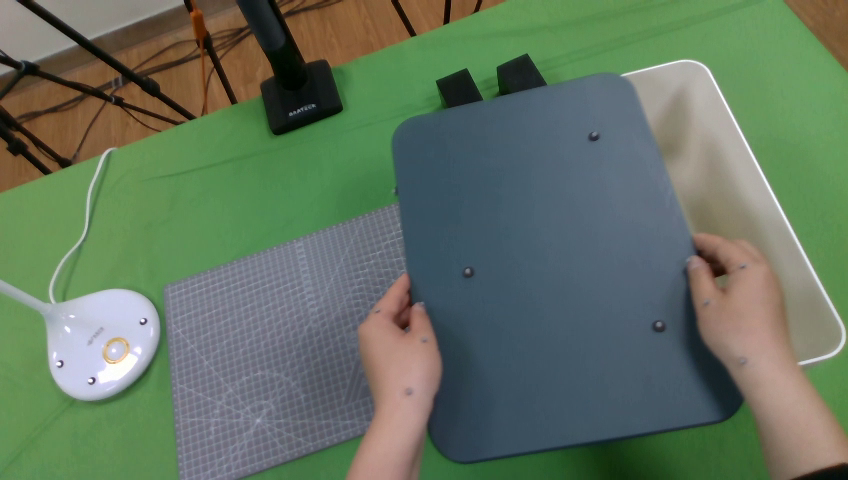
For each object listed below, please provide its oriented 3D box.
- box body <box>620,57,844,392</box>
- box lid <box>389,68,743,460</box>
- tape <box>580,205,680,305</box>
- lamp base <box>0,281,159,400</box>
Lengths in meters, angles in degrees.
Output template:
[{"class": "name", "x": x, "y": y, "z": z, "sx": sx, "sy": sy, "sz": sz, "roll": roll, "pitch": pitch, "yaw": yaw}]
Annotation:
[{"class": "box body", "x": 0.234, "y": 0.004, "z": 0.686, "sx": 0.254, "sy": 0.162, "sz": 0.360, "roll": -14, "pitch": 61, "yaw": 5}, {"class": "box lid", "x": 0.109, "y": -0.001, "z": 0.573, "sx": 0.263, "sy": 0.015, "sz": 0.368, "roll": -12, "pitch": 62, "yaw": 6}, {"class": "tape", "x": 0.247, "y": 0.017, "z": 0.732, "sx": 0.116, "sy": 0.053, "sz": 0.116, "roll": -5, "pitch": 63, "yaw": 9}, {"class": "lamp base", "x": -0.470, "y": 0.104, "z": 0.776, "sx": 0.178, "sy": 0.182, "sz": 0.160, "roll": 15, "pitch": 67, "yaw": 22}]
